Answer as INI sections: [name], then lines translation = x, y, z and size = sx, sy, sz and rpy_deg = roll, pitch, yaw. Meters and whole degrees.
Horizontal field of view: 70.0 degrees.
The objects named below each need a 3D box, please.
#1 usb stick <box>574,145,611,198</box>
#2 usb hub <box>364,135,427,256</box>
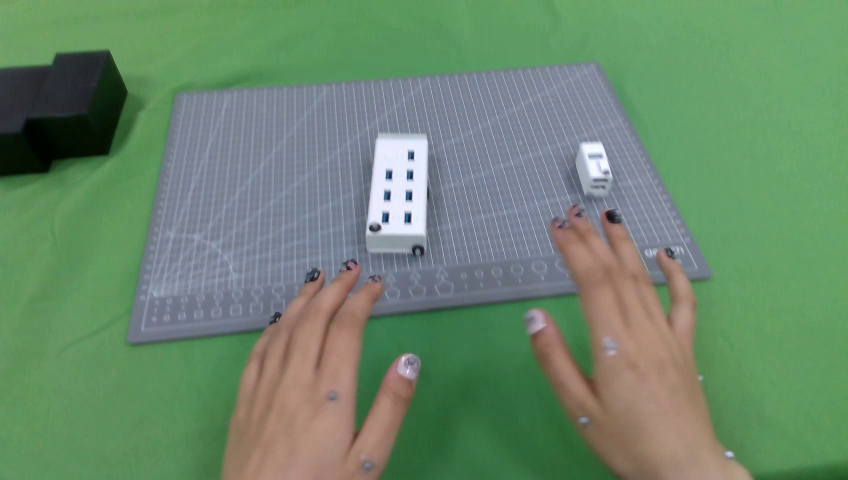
[usb stick]
translation = 0.150, -0.067, 0.546
size = 0.021, 0.027, 0.058
rpy_deg = -2, 48, -1
[usb hub]
translation = -0.023, -0.042, 0.525
size = 0.049, 0.025, 0.124
rpy_deg = 1, 50, 1
